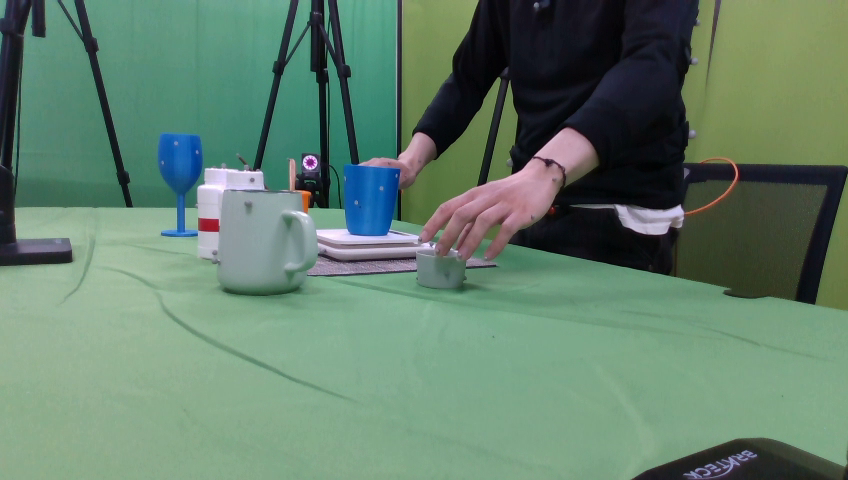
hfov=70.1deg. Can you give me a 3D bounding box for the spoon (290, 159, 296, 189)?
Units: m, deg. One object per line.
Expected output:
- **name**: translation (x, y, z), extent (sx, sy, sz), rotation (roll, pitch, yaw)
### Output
- **spoon**: translation (-0.273, -0.102, 1.252), extent (0.042, 0.193, 0.021), rotation (7, -39, -17)

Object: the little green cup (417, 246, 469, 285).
- **little green cup**: translation (0.021, 0.029, 0.702), extent (0.061, 0.038, 0.061), rotation (1, 7, 0)

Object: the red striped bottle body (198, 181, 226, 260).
- **red striped bottle body**: translation (-0.275, -0.036, 0.827), extent (0.063, 0.119, 0.063), rotation (1, 7, 0)

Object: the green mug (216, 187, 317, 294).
- **green mug**: translation (-0.157, 0.000, 0.629), extent (0.124, 0.105, 0.093), rotation (7, 9, 37)

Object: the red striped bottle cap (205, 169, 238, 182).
- **red striped bottle cap**: translation (-0.274, -0.088, 0.821), extent (0.044, 0.017, 0.044), rotation (-1, 6, 0)

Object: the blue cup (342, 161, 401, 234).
- **blue cup**: translation (-0.079, -0.062, 0.882), extent (0.093, 0.100, 0.092), rotation (3, 6, 0)

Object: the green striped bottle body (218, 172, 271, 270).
- **green striped bottle body**: translation (-0.223, -0.025, 0.755), extent (0.063, 0.119, 0.063), rotation (1, 7, 0)

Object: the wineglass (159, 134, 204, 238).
- **wineglass**: translation (-0.415, -0.093, 1.040), extent (0.074, 0.172, 0.073), rotation (2, 7, 0)

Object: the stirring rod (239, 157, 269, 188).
- **stirring rod**: translation (-0.309, -0.098, 1.209), extent (0.006, 0.177, 0.014), rotation (-39, 29, -3)

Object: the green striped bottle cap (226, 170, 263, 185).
- **green striped bottle cap**: translation (-0.222, -0.077, 0.748), extent (0.044, 0.020, 0.044), rotation (1, 7, 0)

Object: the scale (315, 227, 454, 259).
- **scale**: translation (-0.066, 0.001, 0.906), extent (0.202, 0.031, 0.148), rotation (-2, 8, -31)
